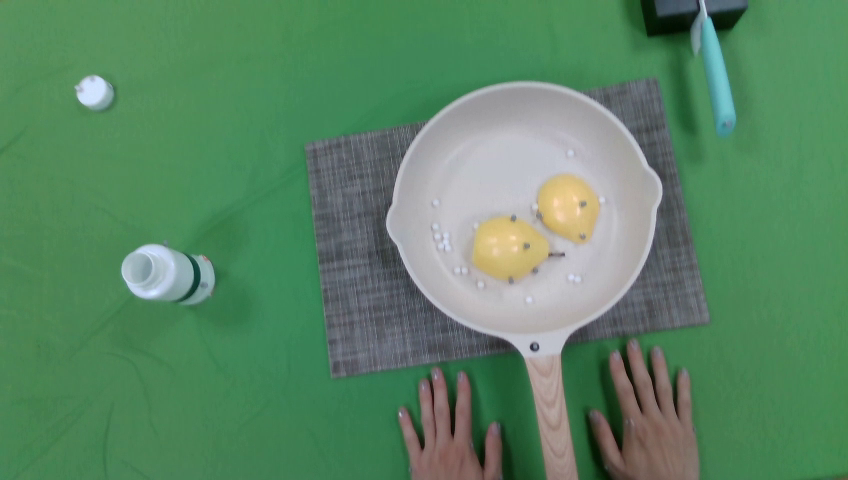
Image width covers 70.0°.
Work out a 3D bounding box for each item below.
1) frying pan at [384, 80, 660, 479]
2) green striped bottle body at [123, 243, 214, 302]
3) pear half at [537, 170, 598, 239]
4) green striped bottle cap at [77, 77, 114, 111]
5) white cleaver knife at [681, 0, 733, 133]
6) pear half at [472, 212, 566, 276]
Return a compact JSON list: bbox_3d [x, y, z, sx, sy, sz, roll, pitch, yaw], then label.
[{"bbox_3d":[0.119,0.062,0.673,0.306,0.103,0.484,-7,72,7],"label":"frying pan"},{"bbox_3d":[-0.306,0.039,0.722,0.063,0.120,0.063,-1,80,7],"label":"green striped bottle body"},{"bbox_3d":[0.172,-0.044,0.718,0.070,0.031,0.087,-25,76,7],"label":"pear half"},{"bbox_3d":[-0.449,-0.200,0.828,0.044,0.020,0.044,-1,81,7],"label":"green striped bottle cap"},{"bbox_3d":[0.326,-0.262,0.720,0.021,0.066,0.285,-8,78,11],"label":"white cleaver knife"},{"bbox_3d":[0.111,0.005,0.707,0.110,0.056,0.076,3,87,6],"label":"pear half"}]
